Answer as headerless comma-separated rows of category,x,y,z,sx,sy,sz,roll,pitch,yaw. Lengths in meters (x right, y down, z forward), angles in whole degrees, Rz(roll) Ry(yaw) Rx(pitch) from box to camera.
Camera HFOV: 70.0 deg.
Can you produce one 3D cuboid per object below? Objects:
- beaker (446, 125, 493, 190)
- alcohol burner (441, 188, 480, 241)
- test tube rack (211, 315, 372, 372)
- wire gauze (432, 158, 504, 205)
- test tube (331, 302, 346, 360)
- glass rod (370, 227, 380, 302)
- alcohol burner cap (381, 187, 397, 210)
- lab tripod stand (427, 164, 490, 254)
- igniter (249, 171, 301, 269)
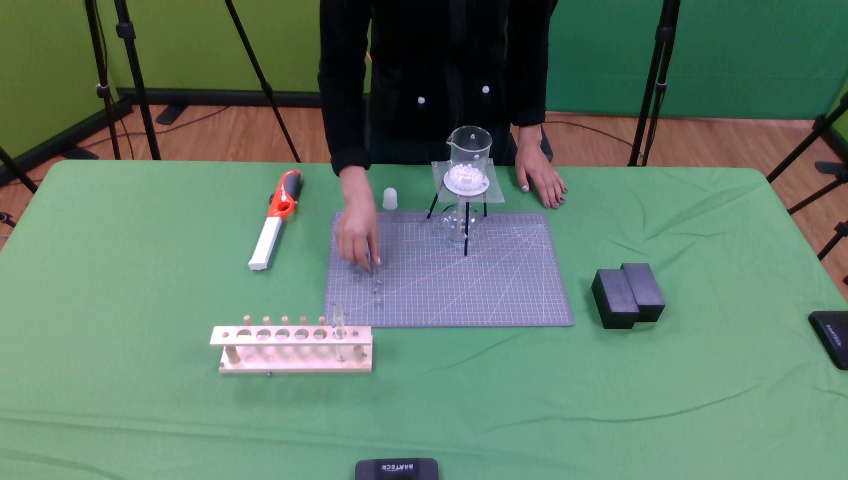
beaker,0.079,-0.148,1.106,0.084,0.101,0.073,-3,47,-7
alcohol burner,0.073,-0.055,1.189,0.078,0.120,0.077,1,48,-1
test tube rack,-0.208,0.163,0.982,0.242,0.085,0.066,1,46,-4
wire gauze,0.081,-0.111,1.138,0.125,0.011,0.120,0,48,-7
test tube,-0.132,0.144,0.938,0.017,0.151,0.017,2,49,-3
glass rod,-0.094,0.043,1.157,0.008,0.008,0.198,-3,43,-6
alcohol burner cap,-0.072,-0.090,1.267,0.034,0.048,0.033,2,47,-2
lab tripod stand,0.078,-0.068,1.188,0.148,0.132,0.147,3,47,-3
igniter,-0.297,-0.049,1.221,0.057,0.025,0.275,-2,45,9
